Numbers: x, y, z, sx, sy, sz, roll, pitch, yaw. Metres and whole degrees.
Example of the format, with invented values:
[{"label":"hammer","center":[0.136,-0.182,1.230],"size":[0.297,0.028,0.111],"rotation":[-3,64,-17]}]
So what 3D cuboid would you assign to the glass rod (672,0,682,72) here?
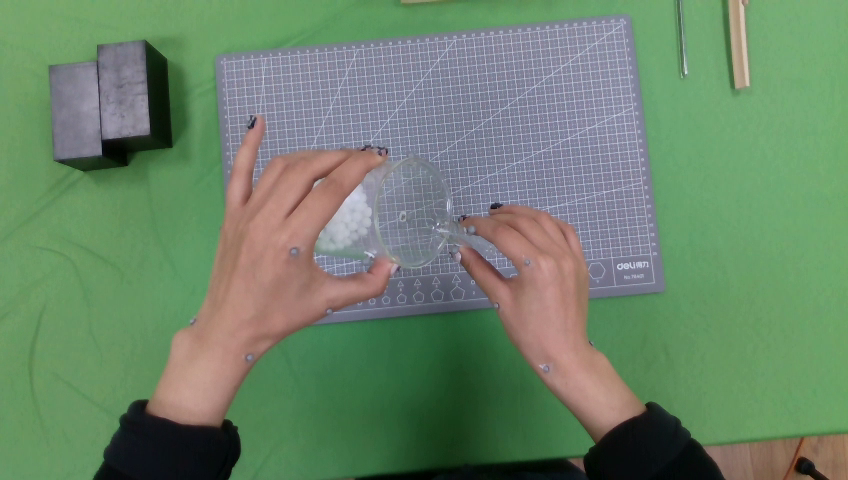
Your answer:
[{"label":"glass rod","center":[0.269,-0.279,0.653],"size":[0.008,0.008,0.199],"rotation":[-1,85,1]}]

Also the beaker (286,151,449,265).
[{"label":"beaker","center":[-0.041,-0.023,0.432],"size":[0.099,0.085,0.074],"rotation":[6,78,42]}]

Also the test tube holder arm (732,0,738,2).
[{"label":"test tube holder arm","center":[0.334,-0.300,0.649],"size":[0.010,0.015,0.087],"rotation":[3,85,-28]}]

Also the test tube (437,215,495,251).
[{"label":"test tube","center":[0.038,-0.003,0.503],"size":[0.017,0.151,0.017],"rotation":[-2,84,17]}]

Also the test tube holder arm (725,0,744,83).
[{"label":"test tube holder arm","center":[0.328,-0.255,0.643],"size":[0.013,0.015,0.178],"rotation":[3,85,-28]}]
